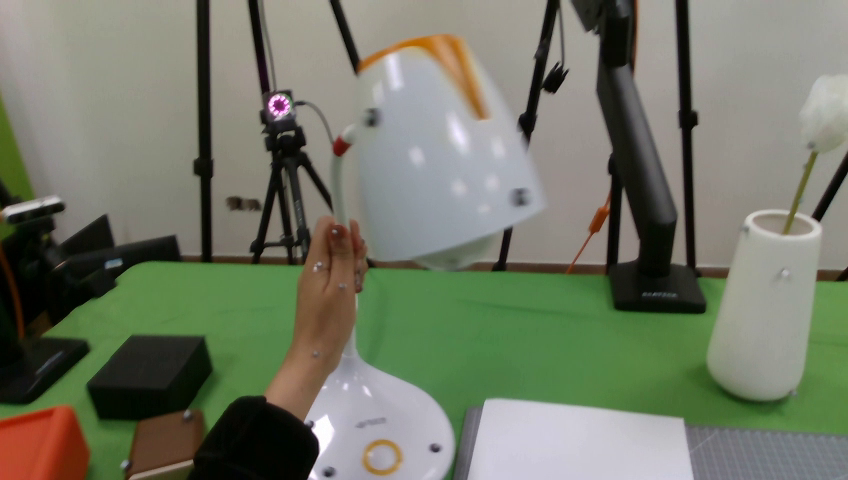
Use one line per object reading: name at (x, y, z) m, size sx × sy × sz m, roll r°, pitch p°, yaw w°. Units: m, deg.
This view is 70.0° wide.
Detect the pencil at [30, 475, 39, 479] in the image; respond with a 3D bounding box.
pencil at (-0.405, 0.271, 0.495) m, size 0.012 × 0.012 × 0.193 m, roll 13°, pitch 43°, yaw 31°

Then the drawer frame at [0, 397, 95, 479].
drawer frame at (-0.418, 0.253, 0.522) m, size 0.202 × 0.083 × 0.211 m, roll -12°, pitch 26°, yaw -14°

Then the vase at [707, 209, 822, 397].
vase at (0.366, 0.069, 0.652) m, size 0.098 × 0.201 × 0.097 m, roll -4°, pitch 25°, yaw 2°

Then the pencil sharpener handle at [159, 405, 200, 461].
pencil sharpener handle at (-0.234, 0.181, 0.587) m, size 0.036 × 0.068 × 0.030 m, roll -6°, pitch 26°, yaw -16°

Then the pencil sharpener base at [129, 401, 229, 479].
pencil sharpener base at (-0.217, 0.212, 0.549) m, size 0.061 × 0.108 × 0.076 m, roll -11°, pitch 27°, yaw -13°

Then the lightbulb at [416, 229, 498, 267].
lightbulb at (0.012, -0.037, 0.366) m, size 0.059 × 0.108 × 0.059 m, roll -8°, pitch 7°, yaw 1°

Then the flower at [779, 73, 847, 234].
flower at (0.350, 0.005, 0.597) m, size 0.038 × 0.365 × 0.043 m, roll -33°, pitch 49°, yaw -21°

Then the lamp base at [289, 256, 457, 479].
lamp base at (-0.054, 0.117, 0.556) m, size 0.161 × 0.181 × 0.177 m, roll -15°, pitch 30°, yaw -26°

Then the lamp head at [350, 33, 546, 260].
lamp head at (0.002, -0.060, 0.370) m, size 0.112 × 0.123 × 0.112 m, roll -22°, pitch 4°, yaw 2°

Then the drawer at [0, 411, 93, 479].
drawer at (-0.415, 0.256, 0.521) m, size 0.195 × 0.074 × 0.209 m, roll -12°, pitch 26°, yaw -13°
